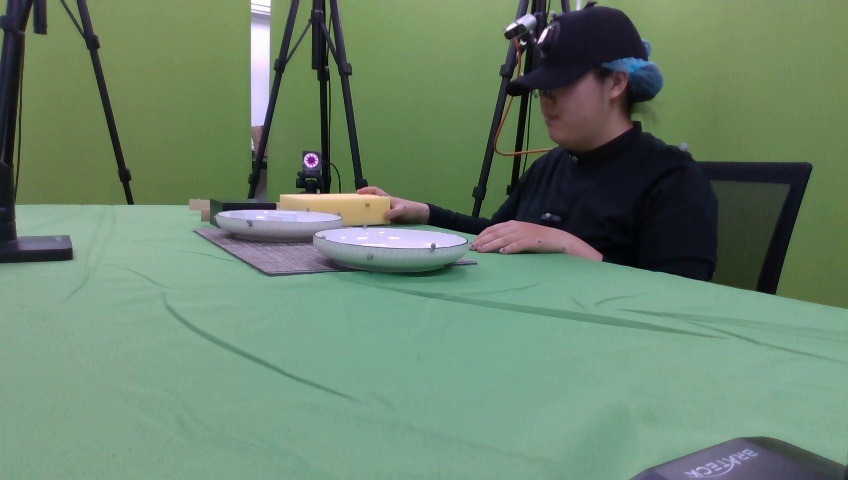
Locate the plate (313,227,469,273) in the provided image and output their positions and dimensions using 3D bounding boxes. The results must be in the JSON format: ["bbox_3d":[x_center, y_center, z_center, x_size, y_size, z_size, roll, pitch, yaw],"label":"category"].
[{"bbox_3d":[-0.044,0.012,0.807,0.209,0.038,0.209,2,7,0],"label":"plate"}]

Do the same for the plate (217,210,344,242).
[{"bbox_3d":[-0.241,-0.024,1.026,0.208,0.039,0.207,3,7,0],"label":"plate"}]

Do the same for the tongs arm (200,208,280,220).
[{"bbox_3d":[-0.302,-0.060,1.350,0.390,0.028,0.028,-3,7,-38],"label":"tongs arm"}]

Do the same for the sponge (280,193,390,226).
[{"bbox_3d":[-0.189,-0.066,1.292,0.208,0.061,0.117,-4,10,-36],"label":"sponge"}]

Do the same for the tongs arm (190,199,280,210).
[{"bbox_3d":[-0.341,-0.075,1.419,0.387,0.026,0.050,0,8,-25],"label":"tongs arm"}]
